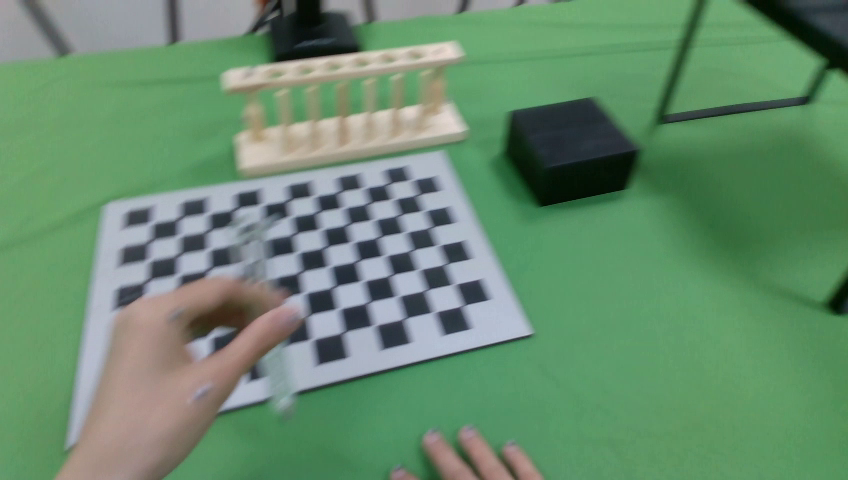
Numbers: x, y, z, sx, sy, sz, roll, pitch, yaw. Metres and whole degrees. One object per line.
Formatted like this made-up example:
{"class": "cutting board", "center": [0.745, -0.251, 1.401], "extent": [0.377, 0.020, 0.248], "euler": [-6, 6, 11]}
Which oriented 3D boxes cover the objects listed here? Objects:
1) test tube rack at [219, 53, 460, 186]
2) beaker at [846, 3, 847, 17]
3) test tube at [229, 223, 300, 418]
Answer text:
{"class": "test tube rack", "center": [-0.083, -0.131, 0.648], "extent": [0.243, 0.086, 0.066], "euler": [-12, 45, -14]}
{"class": "beaker", "center": [0.390, -0.220, 0.478], "extent": [0.074, 0.101, 0.083], "euler": [-25, 49, -25]}
{"class": "test tube", "center": [-0.087, 0.053, 0.342], "extent": [0.017, 0.151, 0.017], "euler": [0, 40, 0]}
